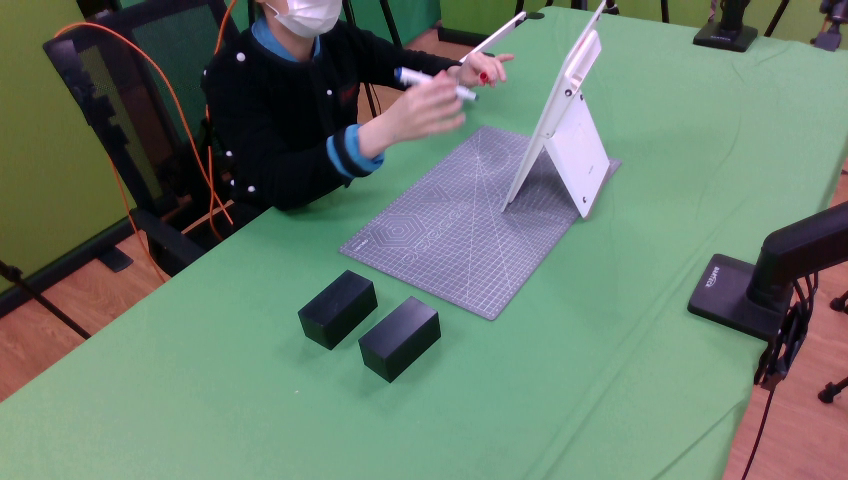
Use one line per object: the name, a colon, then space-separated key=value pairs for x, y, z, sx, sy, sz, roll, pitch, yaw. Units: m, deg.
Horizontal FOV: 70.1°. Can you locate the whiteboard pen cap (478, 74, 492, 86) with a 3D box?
whiteboard pen cap: x=0.113 y=-0.299 z=1.130 sx=0.017 sy=0.017 sz=0.032 roll=15 pitch=12 yaw=24

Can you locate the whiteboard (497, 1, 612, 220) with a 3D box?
whiteboard: x=0.260 y=-0.178 z=0.963 sx=0.143 sy=0.306 sz=0.217 roll=28 pitch=49 yaw=9

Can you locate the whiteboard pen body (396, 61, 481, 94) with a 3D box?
whiteboard pen body: x=0.024 y=-0.243 z=0.917 sx=0.141 sy=0.017 sz=0.016 roll=13 pitch=36 yaw=-20
